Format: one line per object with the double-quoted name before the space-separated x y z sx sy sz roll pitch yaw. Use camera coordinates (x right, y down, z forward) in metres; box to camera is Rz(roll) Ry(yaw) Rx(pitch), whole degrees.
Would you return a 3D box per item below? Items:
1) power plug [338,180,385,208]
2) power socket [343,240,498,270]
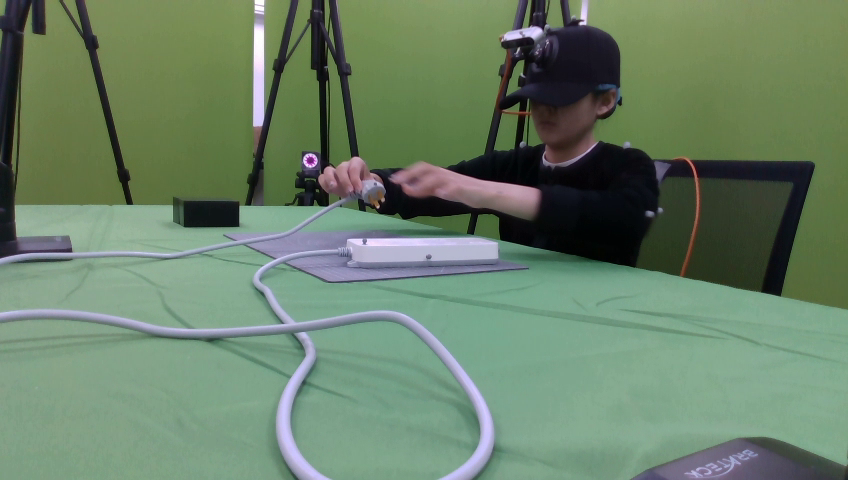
"power plug" -0.089 -0.059 0.915 0.035 0.072 0.052 18 34 -50
"power socket" -0.002 0.018 0.829 0.228 0.032 0.072 0 7 -23
